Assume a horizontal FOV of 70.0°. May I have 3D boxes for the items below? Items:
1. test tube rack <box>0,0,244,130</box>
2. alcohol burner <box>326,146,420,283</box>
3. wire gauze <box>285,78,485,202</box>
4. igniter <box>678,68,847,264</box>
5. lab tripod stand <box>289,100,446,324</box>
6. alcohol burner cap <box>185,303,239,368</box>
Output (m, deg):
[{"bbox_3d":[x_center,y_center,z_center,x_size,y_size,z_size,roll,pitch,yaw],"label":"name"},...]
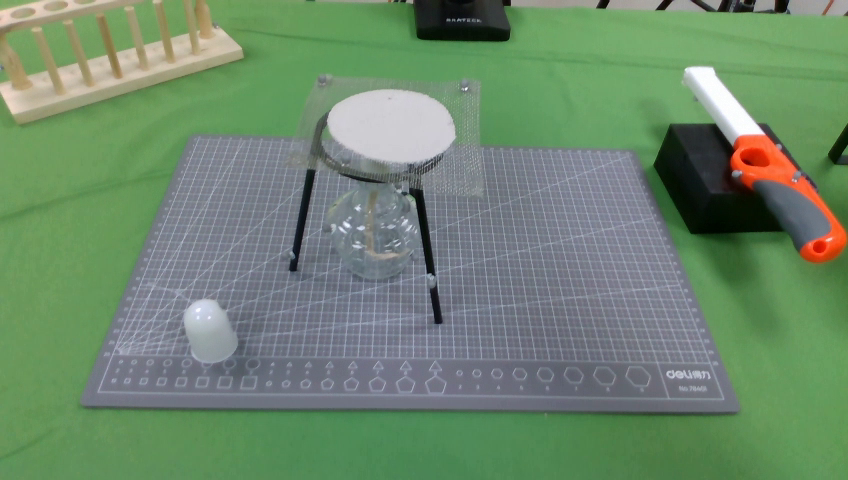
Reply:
[{"bbox_3d":[-0.324,-0.207,0.643,0.242,0.086,0.066,-27,54,-27],"label":"test tube rack"},{"bbox_3d":[-0.038,-0.023,0.464,0.078,0.120,0.077,1,48,-1],"label":"alcohol burner"},{"bbox_3d":[-0.021,-0.075,0.407,0.125,0.011,0.120,6,46,-1],"label":"wire gauze"},{"bbox_3d":[0.293,-0.080,0.543,0.057,0.025,0.273,-3,44,-3],"label":"igniter"},{"bbox_3d":[-0.029,-0.023,0.450,0.148,0.132,0.147,4,46,-3],"label":"lab tripod stand"},{"bbox_3d":[-0.149,0.063,0.422,0.034,0.048,0.033,3,45,-3],"label":"alcohol burner cap"}]
